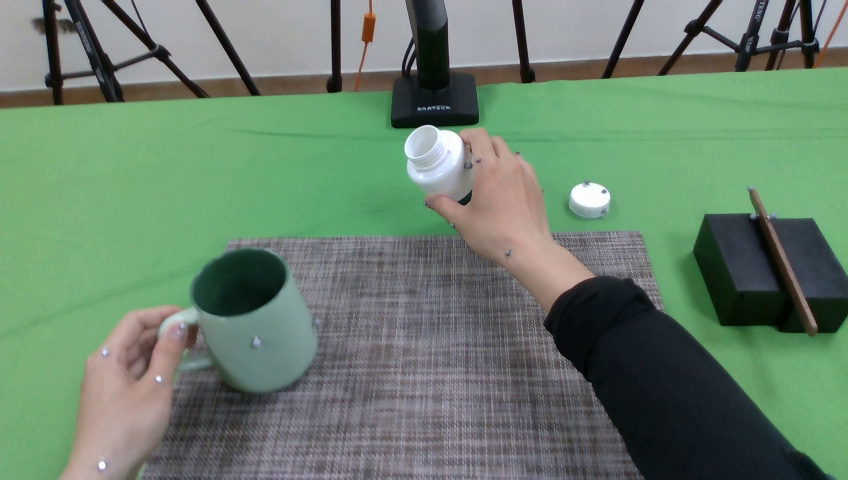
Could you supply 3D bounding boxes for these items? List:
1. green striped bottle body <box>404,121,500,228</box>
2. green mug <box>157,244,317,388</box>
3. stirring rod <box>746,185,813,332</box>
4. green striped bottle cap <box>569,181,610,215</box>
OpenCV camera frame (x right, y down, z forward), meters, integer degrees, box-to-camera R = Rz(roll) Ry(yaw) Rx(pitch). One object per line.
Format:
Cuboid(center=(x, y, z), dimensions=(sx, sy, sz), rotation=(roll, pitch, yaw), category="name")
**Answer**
Cuboid(center=(0.025, -0.067, 0.608), dimensions=(0.063, 0.120, 0.062), rotation=(-17, 53, 24), category="green striped bottle body")
Cuboid(center=(-0.161, 0.072, 0.520), dimensions=(0.125, 0.106, 0.091), rotation=(-20, 47, -15), category="green mug")
Cuboid(center=(0.316, 0.009, 0.543), dimensions=(0.006, 0.014, 0.174), rotation=(-1, 45, 9), category="stirring rod")
Cuboid(center=(0.186, -0.048, 0.681), dimensions=(0.044, 0.020, 0.044), rotation=(-1, 41, 1), category="green striped bottle cap")
